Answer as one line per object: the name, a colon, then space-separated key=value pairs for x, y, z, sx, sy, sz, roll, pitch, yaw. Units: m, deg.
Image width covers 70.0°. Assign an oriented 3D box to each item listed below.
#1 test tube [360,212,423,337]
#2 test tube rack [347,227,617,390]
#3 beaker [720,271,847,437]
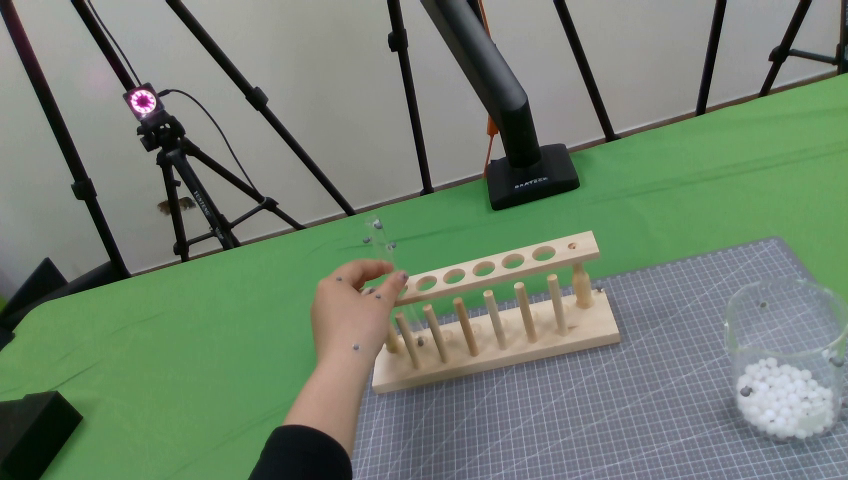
test tube: x=-0.029 y=0.037 z=0.587 sx=0.017 sy=0.151 sz=0.017 roll=-15 pitch=31 yaw=9
test tube rack: x=0.052 y=0.069 z=0.586 sx=0.242 sy=0.086 sz=0.066 roll=-15 pitch=33 yaw=11
beaker: x=0.253 y=0.085 z=0.432 sx=0.084 sy=0.101 sz=0.073 roll=-25 pitch=32 yaw=-4
